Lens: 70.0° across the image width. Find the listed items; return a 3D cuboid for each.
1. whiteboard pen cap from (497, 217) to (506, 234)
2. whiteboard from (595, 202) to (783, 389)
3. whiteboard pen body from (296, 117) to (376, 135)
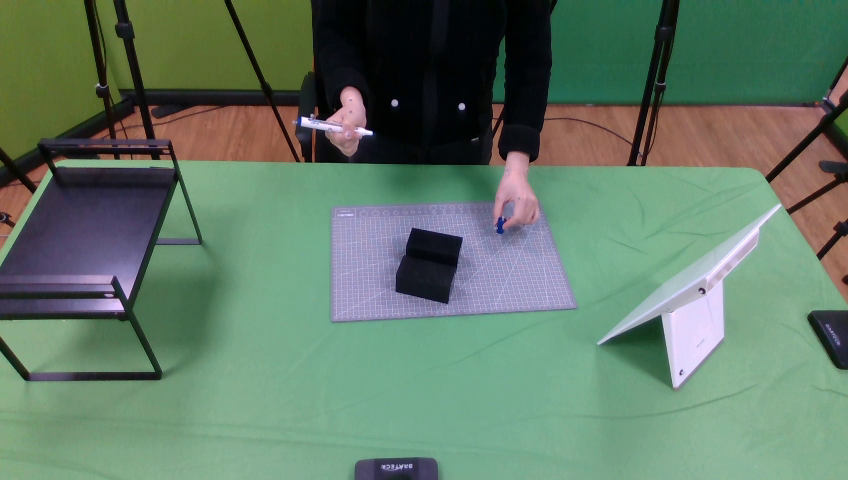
[{"bbox_3d":[0.154,-0.028,1.202,0.018,0.033,0.018,2,34,-1],"label":"whiteboard pen cap"},{"bbox_3d":[0.459,0.112,0.968,0.217,0.306,0.143,-31,74,-29],"label":"whiteboard"},{"bbox_3d":[-0.152,-0.198,1.061,0.141,0.017,0.017,6,44,-20],"label":"whiteboard pen body"}]
